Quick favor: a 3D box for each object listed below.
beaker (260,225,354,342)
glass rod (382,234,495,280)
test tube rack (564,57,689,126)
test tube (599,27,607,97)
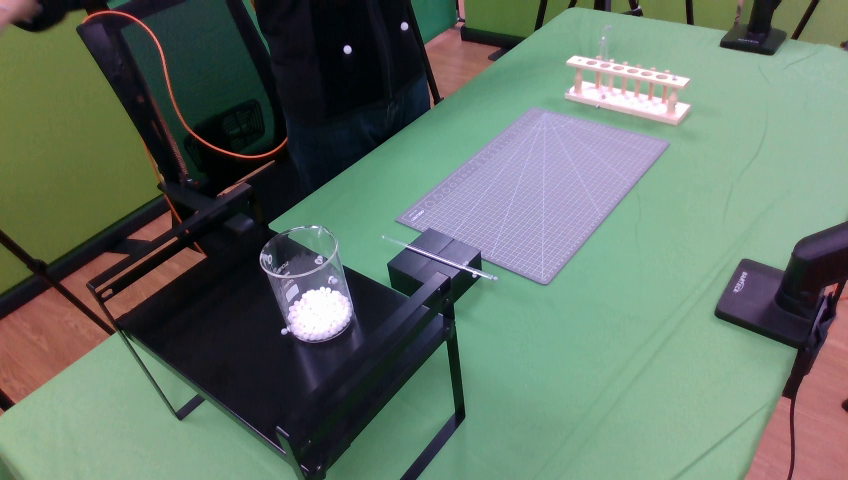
[{"bbox_3d":[-0.111,0.045,0.601,0.073,0.101,0.084,7,42,17],"label":"beaker"},{"bbox_3d":[0.017,0.023,0.882,0.198,0.008,0.008,21,48,29],"label":"glass rod"},{"bbox_3d":[0.411,-0.311,1.230,0.240,0.085,0.067,23,49,32],"label":"test tube rack"},{"bbox_3d":[0.358,-0.353,1.210,0.017,0.151,0.017,-8,43,8],"label":"test tube"}]
